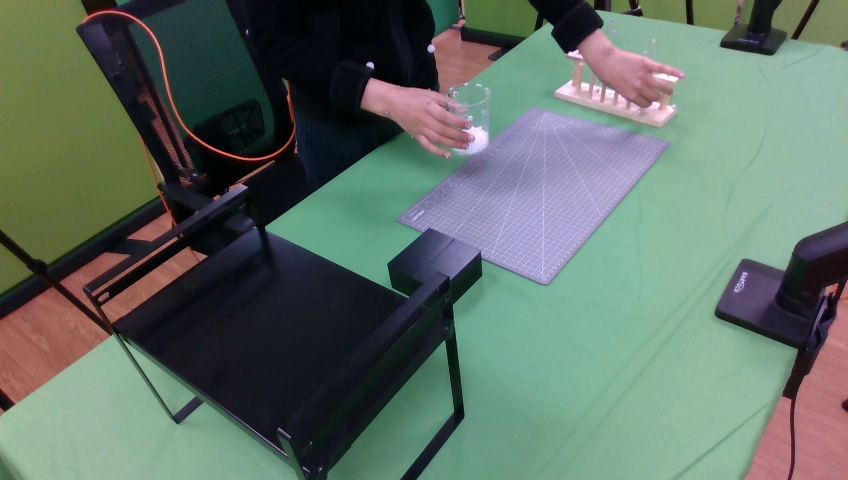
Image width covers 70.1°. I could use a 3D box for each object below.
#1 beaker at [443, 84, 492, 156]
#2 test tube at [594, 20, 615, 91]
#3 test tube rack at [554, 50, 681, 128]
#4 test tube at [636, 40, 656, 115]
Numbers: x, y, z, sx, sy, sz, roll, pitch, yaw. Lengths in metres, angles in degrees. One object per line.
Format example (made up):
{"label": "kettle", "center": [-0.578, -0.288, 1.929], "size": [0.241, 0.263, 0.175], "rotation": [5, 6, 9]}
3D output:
{"label": "beaker", "center": [0.076, -0.198, 1.004], "size": [0.084, 0.101, 0.073], "rotation": [-20, 44, -14]}
{"label": "test tube", "center": [0.367, -0.372, 1.233], "size": [0.017, 0.151, 0.017], "rotation": [0, 43, 0]}
{"label": "test tube rack", "center": [0.387, -0.312, 1.234], "size": [0.240, 0.085, 0.067], "rotation": [28, 51, 34]}
{"label": "test tube", "center": [0.424, -0.308, 1.155], "size": [0.017, 0.151, 0.017], "rotation": [-3, 41, 3]}
